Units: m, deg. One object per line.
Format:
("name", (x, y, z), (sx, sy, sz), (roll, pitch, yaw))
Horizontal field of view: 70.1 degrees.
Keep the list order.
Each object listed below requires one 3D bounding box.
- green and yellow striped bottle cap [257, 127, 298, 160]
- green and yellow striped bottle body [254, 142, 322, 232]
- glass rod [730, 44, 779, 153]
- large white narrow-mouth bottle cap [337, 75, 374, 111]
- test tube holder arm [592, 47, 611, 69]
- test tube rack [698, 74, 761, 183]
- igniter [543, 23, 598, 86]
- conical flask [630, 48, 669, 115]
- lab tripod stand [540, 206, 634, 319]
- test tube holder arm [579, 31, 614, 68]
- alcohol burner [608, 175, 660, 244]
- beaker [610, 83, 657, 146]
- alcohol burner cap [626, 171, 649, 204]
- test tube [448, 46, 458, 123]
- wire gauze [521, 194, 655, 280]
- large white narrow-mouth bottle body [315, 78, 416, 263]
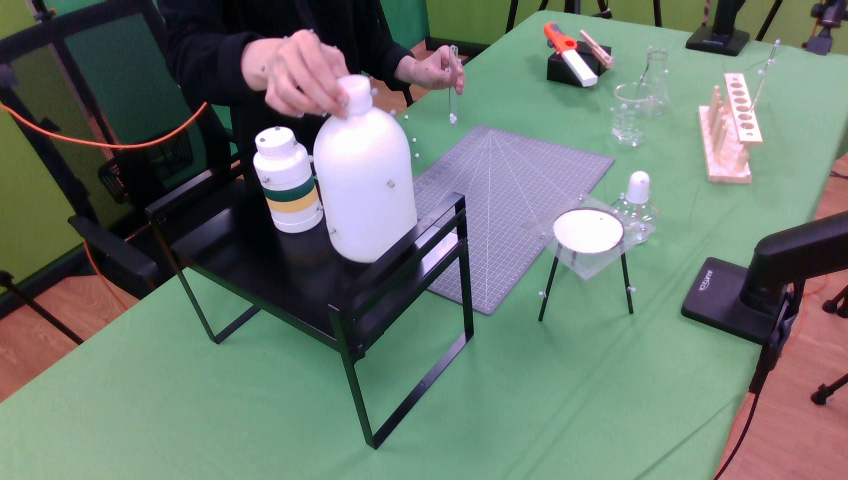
("green and yellow striped bottle cap", (-0.169, -0.112, 0.698), (0.045, 0.020, 0.045), (-5, 40, 5))
("green and yellow striped bottle body", (-0.165, -0.073, 0.732), (0.063, 0.120, 0.063), (-4, 41, 4))
("glass rod", (0.555, -0.234, 1.020), (0.008, 0.200, 0.008), (2, 40, -1))
("large white narrow-mouth bottle cap", (-0.067, -0.144, 0.594), (0.038, 0.024, 0.037), (-2, 38, 2))
("test tube holder arm", (0.386, -0.398, 1.317), (0.010, 0.015, 0.087), (-10, 41, -2))
("test tube rack", (0.547, -0.208, 1.095), (0.066, 0.085, 0.242), (5, 42, 15))
("igniter", (0.320, -0.419, 1.345), (0.057, 0.025, 0.274), (-12, 44, -3))
("conical flask", (0.457, -0.317, 1.205), (0.075, 0.122, 0.075), (-4, 41, 4))
("lab tripod stand", (0.218, 0.034, 0.821), (0.148, 0.132, 0.147), (-4, 42, 4))
("test tube holder arm", (0.384, -0.428, 1.351), (0.013, 0.015, 0.177), (-11, 41, -3))
("alcohol burner", (0.322, -0.053, 0.924), (0.078, 0.119, 0.077), (-4, 43, 4))
("beaker", (0.388, -0.235, 1.138), (0.074, 0.101, 0.083), (-31, 45, -25))
("alcohol burner cap", (0.320, -0.081, 0.900), (0.034, 0.048, 0.033), (-4, 42, 4))
("test tube", (0.052, -0.270, 1.066), (0.017, 0.151, 0.017), (-1, 46, 1))
("wire gauze", (0.207, -0.012, 0.772), (0.122, 0.011, 0.124), (-28, 44, -20))
("large white narrow-mouth bottle body", (-0.064, -0.076, 0.647), (0.102, 0.195, 0.101), (-2, 38, 2))
